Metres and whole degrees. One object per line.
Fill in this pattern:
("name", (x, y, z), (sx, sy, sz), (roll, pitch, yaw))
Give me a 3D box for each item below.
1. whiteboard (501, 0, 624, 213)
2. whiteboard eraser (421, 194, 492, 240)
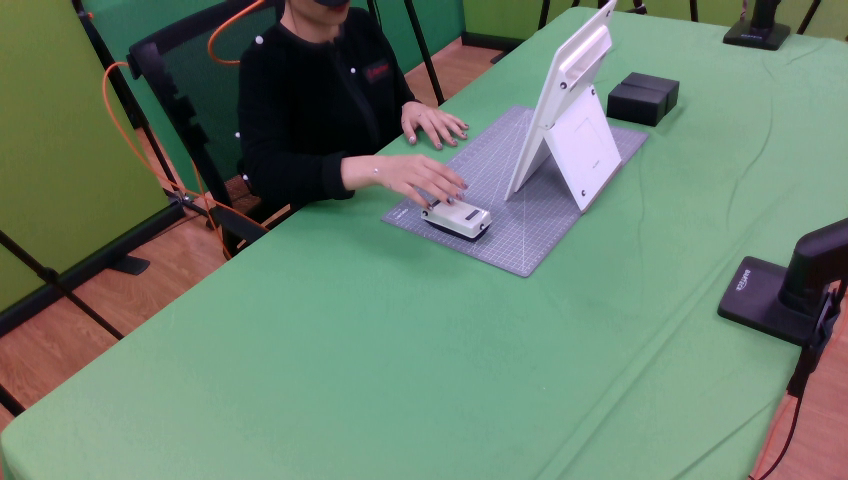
("whiteboard", (0.271, -0.189, 0.977), (0.143, 0.306, 0.218), (34, 53, 16))
("whiteboard eraser", (0.052, -0.037, 0.996), (0.112, 0.042, 0.056), (23, 50, 32))
